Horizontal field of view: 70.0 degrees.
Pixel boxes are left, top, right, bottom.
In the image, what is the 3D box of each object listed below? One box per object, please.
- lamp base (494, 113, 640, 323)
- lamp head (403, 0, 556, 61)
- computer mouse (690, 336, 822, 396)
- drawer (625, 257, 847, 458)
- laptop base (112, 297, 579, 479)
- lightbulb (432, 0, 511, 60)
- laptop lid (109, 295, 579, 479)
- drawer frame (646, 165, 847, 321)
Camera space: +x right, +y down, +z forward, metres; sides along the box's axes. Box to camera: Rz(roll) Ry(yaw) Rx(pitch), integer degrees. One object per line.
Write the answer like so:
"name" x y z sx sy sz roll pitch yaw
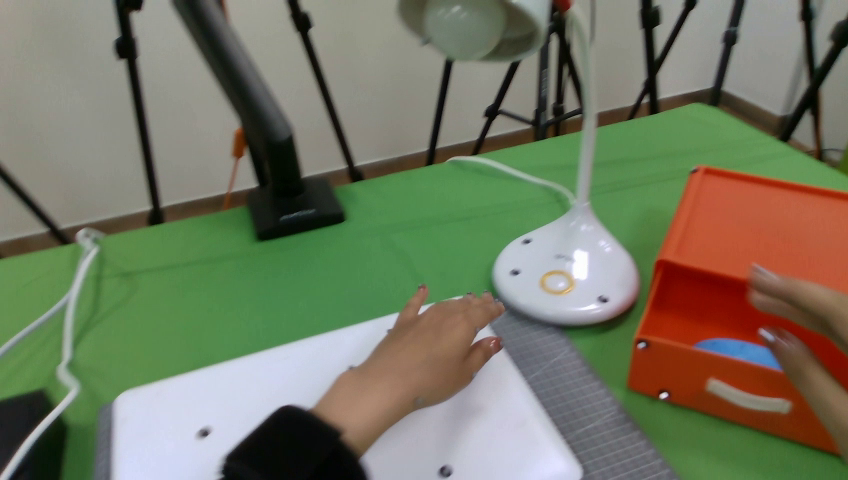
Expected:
"lamp base" 0.158 -0.033 0.646 0.160 0.182 0.178 9 34 17
"lamp head" 0.054 -0.211 0.453 0.112 0.113 0.122 14 78 22
"computer mouse" 0.292 0.122 0.533 0.117 0.041 0.062 15 36 15
"drawer" 0.314 0.077 0.571 0.193 0.074 0.211 14 39 24
"laptop base" -0.079 0.171 0.521 0.355 0.023 0.232 -14 41 -15
"lightbulb" 0.042 -0.189 0.456 0.059 0.060 0.107 14 83 22
"laptop lid" -0.079 0.164 0.512 0.357 0.013 0.239 -13 39 -14
"drawer frame" 0.365 0.016 0.647 0.200 0.083 0.213 15 39 24
